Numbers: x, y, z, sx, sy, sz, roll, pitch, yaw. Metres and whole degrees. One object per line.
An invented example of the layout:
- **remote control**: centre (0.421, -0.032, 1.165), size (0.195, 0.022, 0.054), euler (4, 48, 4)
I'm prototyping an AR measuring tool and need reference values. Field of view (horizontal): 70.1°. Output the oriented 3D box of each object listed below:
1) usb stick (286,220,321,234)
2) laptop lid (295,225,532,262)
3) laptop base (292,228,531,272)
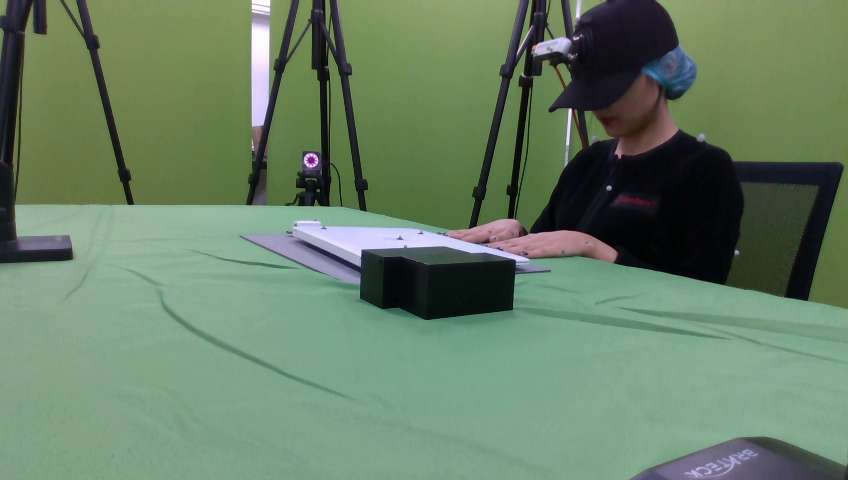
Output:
- **usb stick**: centre (-0.211, -0.021, 1.055), size (0.059, 0.027, 0.021), euler (-6, 11, -33)
- **laptop lid**: centre (-0.035, 0.001, 0.894), size (0.243, 0.013, 0.355), euler (1, 7, -26)
- **laptop base**: centre (-0.038, 0.013, 0.894), size (0.237, 0.023, 0.352), euler (2, 6, -28)
